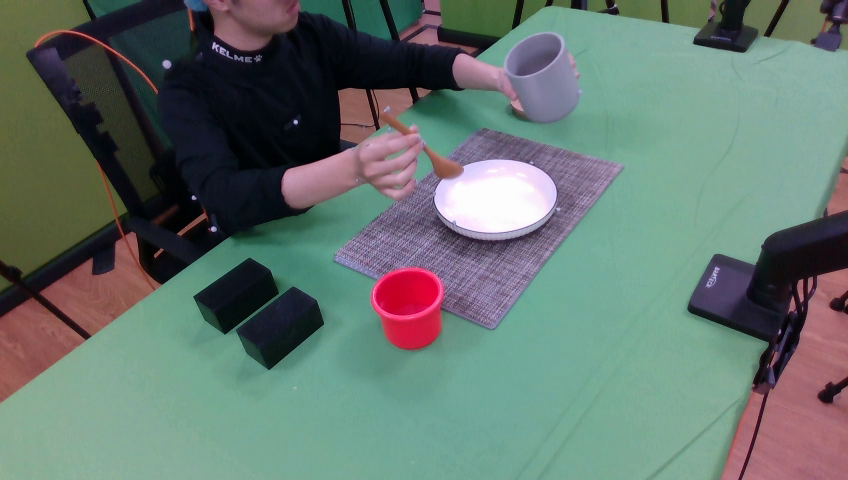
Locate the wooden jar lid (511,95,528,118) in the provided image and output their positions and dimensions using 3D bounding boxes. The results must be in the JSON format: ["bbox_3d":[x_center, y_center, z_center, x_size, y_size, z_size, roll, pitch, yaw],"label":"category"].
[{"bbox_3d":[0.237,-0.286,1.271,0.108,0.021,0.108,-5,41,5],"label":"wooden jar lid"}]

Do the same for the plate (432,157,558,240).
[{"bbox_3d":[0.118,-0.066,1.013,0.207,0.039,0.206,-4,41,4],"label":"plate"}]

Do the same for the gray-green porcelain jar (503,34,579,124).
[{"bbox_3d":[0.208,-0.275,1.056,0.105,0.127,0.105,-17,51,22],"label":"gray-green porcelain jar"}]

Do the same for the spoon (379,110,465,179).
[{"bbox_3d":[-0.002,-0.130,0.845,0.041,0.195,0.021,-23,54,27],"label":"spoon"}]
